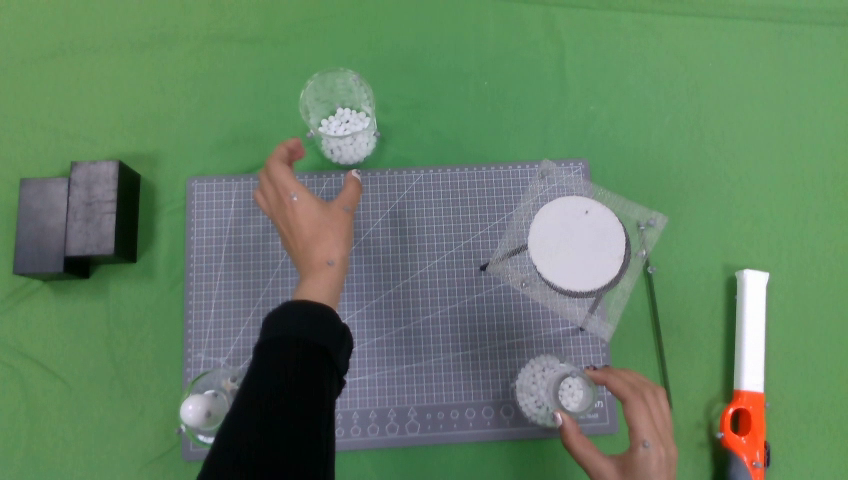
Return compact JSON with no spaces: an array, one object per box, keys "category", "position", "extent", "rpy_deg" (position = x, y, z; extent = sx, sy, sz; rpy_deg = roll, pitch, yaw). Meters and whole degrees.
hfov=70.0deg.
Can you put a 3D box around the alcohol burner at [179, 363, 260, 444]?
[{"category":"alcohol burner","position":[-0.199,0.156,0.575],"extent":[0.078,0.119,0.077],"rpy_deg":[0,80,0]}]

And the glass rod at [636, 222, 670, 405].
[{"category":"glass rod","position":[0.247,0.077,0.658],"extent":[0.008,0.008,0.199],"rpy_deg":[-4,79,-2]}]

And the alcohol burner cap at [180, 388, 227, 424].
[{"category":"alcohol burner cap","position":[-0.199,0.147,0.540],"extent":[0.034,0.048,0.033],"rpy_deg":[1,74,-2]}]

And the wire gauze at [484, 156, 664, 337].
[{"category":"wire gauze","position":[0.132,0.003,0.534],"extent":[0.125,0.011,0.121],"rpy_deg":[29,82,5]}]

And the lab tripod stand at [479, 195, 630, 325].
[{"category":"lab tripod stand","position":[0.134,0.018,0.600],"extent":[0.148,0.132,0.148],"rpy_deg":[0,80,0]}]

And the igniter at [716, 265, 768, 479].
[{"category":"igniter","position":[0.334,0.163,0.634],"extent":[0.057,0.025,0.275],"rpy_deg":[10,79,-10]}]

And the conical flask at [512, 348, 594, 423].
[{"category":"conical flask","position":[0.128,0.139,0.575],"extent":[0.075,0.122,0.075],"rpy_deg":[0,79,0]}]

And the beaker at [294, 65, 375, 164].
[{"category":"beaker","position":[-0.087,-0.126,0.642],"extent":[0.084,0.100,0.074],"rpy_deg":[33,80,4]}]
